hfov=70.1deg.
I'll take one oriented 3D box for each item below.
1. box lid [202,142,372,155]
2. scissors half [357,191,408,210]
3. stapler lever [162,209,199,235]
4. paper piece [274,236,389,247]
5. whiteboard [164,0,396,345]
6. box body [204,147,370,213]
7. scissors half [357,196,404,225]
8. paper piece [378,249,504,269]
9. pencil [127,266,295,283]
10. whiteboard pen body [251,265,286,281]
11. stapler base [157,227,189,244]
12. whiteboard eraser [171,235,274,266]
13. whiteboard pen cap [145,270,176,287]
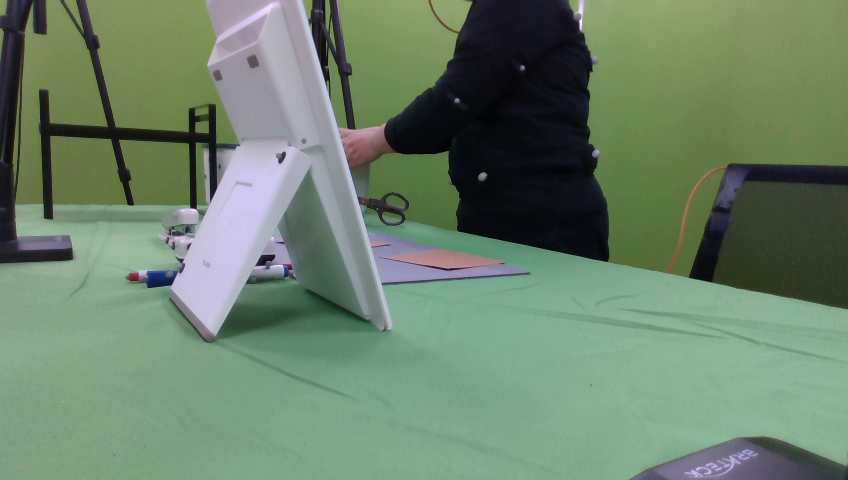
[{"bbox_3d":[-0.344,-0.225,1.509,0.373,0.015,0.262,-2,8,-31],"label":"box lid"},{"bbox_3d":[-0.122,-0.092,1.317,0.175,0.040,0.013,6,14,-3],"label":"scissors half"},{"bbox_3d":[-0.376,-0.031,0.933,0.027,0.040,0.117,1,7,-38],"label":"stapler lever"},{"bbox_3d":[-0.151,0.003,0.978,0.135,0.008,0.139,13,10,35],"label":"paper piece"},{"bbox_3d":[-0.172,-0.053,0.511,0.144,0.305,0.216,-23,20,-26],"label":"whiteboard"},{"bbox_3d":[-0.346,-0.152,1.519,0.366,0.160,0.253,-2,9,-31],"label":"box body"},{"bbox_3d":[-0.127,-0.073,1.321,0.175,0.040,0.013,22,7,-6],"label":"scissors half"},{"bbox_3d":[0.026,0.026,0.865,0.134,0.004,0.136,9,9,43],"label":"paper piece"},{"bbox_3d":[-0.231,0.037,0.690,0.195,0.012,0.012,-2,9,-34],"label":"pencil"},{"bbox_3d":[-0.220,0.039,0.656,0.141,0.017,0.017,-2,9,-31],"label":"whiteboard pen body"},{"bbox_3d":[-0.376,-0.007,0.935,0.041,0.024,0.130,1,5,-38],"label":"stapler base"},{"bbox_3d":[-0.248,0.014,0.747,0.113,0.042,0.055,-1,9,-32],"label":"whiteboard eraser"},{"bbox_3d":[-0.271,0.039,0.627,0.033,0.018,0.018,-3,9,-33],"label":"whiteboard pen cap"}]
